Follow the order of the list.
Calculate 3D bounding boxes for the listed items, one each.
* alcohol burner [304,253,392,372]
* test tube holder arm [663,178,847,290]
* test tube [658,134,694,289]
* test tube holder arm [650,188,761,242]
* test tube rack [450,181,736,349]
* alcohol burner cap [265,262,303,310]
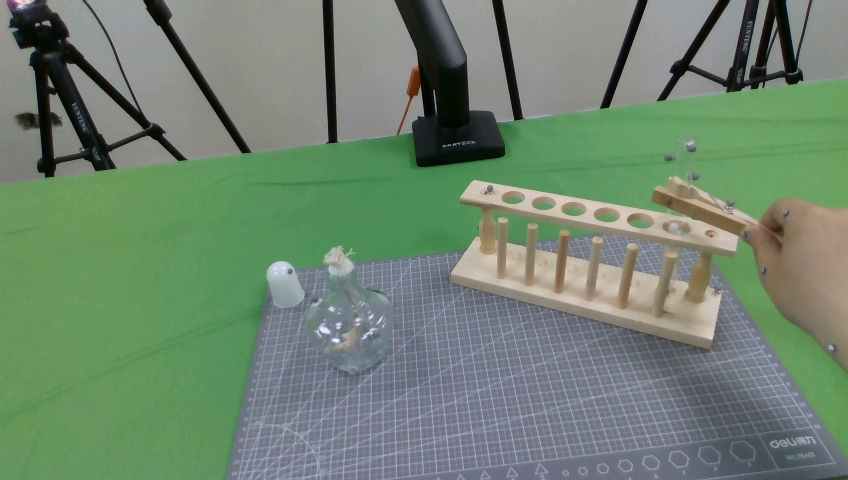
[{"bbox_3d":[-0.067,0.057,0.518,0.078,0.120,0.077,-3,39,3],"label":"alcohol burner"},{"bbox_3d":[0.257,-0.004,0.459,0.013,0.015,0.176,-33,47,-20],"label":"test tube holder arm"},{"bbox_3d":[0.212,-0.019,0.513,0.017,0.151,0.017,-6,34,4],"label":"test tube"},{"bbox_3d":[0.224,-0.020,0.484,0.087,0.015,0.010,26,55,34],"label":"test tube holder arm"},{"bbox_3d":[0.144,0.017,0.558,0.241,0.086,0.066,13,42,24],"label":"test tube rack"},{"bbox_3d":[-0.142,0.043,0.605,0.034,0.048,0.033,-3,39,3],"label":"alcohol burner cap"}]
